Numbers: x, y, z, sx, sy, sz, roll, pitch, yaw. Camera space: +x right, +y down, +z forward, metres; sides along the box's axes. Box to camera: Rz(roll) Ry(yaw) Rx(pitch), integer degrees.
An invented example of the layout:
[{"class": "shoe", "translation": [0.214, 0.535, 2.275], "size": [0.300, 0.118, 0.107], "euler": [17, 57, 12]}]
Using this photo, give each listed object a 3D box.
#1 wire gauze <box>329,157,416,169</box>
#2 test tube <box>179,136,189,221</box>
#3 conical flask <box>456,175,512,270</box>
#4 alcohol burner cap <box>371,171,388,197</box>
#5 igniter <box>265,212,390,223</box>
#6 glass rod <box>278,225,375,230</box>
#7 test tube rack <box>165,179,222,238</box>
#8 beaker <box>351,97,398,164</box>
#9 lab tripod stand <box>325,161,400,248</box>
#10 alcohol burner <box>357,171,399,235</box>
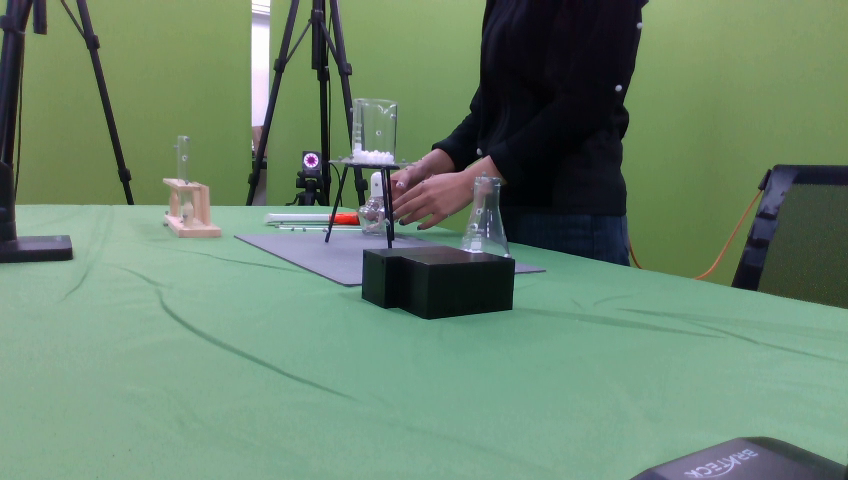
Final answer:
[{"class": "wire gauze", "translation": [-0.079, -0.125, 0.972], "size": [0.121, 0.011, 0.125], "euler": [6, 6, 5]}, {"class": "test tube", "translation": [-0.425, -0.108, 1.070], "size": [0.017, 0.150, 0.017], "euler": [4, 9, 0]}, {"class": "conical flask", "translation": [0.082, -0.025, 0.801], "size": [0.075, 0.122, 0.075], "euler": [2, 7, 0]}, {"class": "alcohol burner cap", "translation": [-0.085, -0.104, 1.120], "size": [0.034, 0.048, 0.034], "euler": [-4, 8, 1]}, {"class": "igniter", "translation": [-0.196, -0.048, 1.286], "size": [0.278, 0.025, 0.057], "euler": [-2, -2, -30]}, {"class": "glass rod", "translation": [-0.186, -0.024, 1.178], "size": [0.201, 0.008, 0.008], "euler": [1, 6, -31]}, {"class": "test tube rack", "translation": [-0.423, -0.062, 1.098], "size": [0.067, 0.085, 0.241], "euler": [-2, 9, -28]}, {"class": "beaker", "translation": [-0.078, -0.172, 0.962], "size": [0.074, 0.100, 0.084], "euler": [6, 8, 18]}, {"class": "lab tripod stand", "translation": [-0.083, -0.059, 0.977], "size": [0.148, 0.131, 0.148], "euler": [4, 8, 0]}, {"class": "alcohol burner", "translation": [-0.085, -0.069, 1.126], "size": [0.078, 0.119, 0.078], "euler": [4, 10, 0]}]
